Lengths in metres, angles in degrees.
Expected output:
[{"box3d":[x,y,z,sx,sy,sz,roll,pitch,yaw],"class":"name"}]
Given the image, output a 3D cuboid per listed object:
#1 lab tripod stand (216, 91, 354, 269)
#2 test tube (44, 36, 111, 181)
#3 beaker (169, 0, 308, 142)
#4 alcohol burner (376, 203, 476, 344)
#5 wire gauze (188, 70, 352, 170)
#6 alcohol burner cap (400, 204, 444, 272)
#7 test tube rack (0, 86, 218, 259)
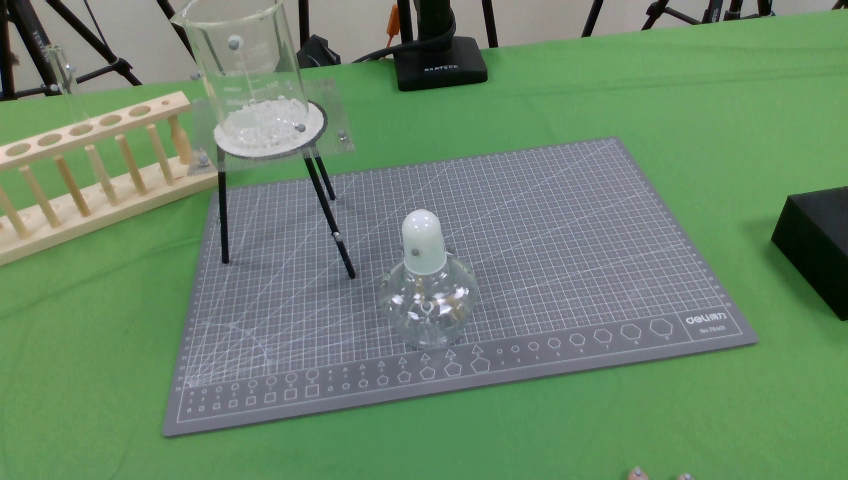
[{"box3d":[-0.122,-0.050,0.532,0.148,0.133,0.147,-3,45,3],"class":"lab tripod stand"},{"box3d":[-0.340,-0.124,0.598,0.017,0.151,0.017,0,36,1],"class":"test tube"},{"box3d":[-0.133,-0.131,0.452,0.084,0.101,0.073,-7,42,0],"class":"beaker"},{"box3d":[0.001,0.022,0.458,0.078,0.120,0.077,-2,41,2],"class":"alcohol burner"},{"box3d":[-0.127,-0.097,0.488,0.125,0.011,0.120,-14,41,-5],"class":"wire gauze"},{"box3d":[-0.003,-0.004,0.434,0.034,0.048,0.033,-3,45,4],"class":"alcohol burner cap"},{"box3d":[-0.344,-0.070,0.614,0.242,0.086,0.066,-25,46,-21],"class":"test tube rack"}]
